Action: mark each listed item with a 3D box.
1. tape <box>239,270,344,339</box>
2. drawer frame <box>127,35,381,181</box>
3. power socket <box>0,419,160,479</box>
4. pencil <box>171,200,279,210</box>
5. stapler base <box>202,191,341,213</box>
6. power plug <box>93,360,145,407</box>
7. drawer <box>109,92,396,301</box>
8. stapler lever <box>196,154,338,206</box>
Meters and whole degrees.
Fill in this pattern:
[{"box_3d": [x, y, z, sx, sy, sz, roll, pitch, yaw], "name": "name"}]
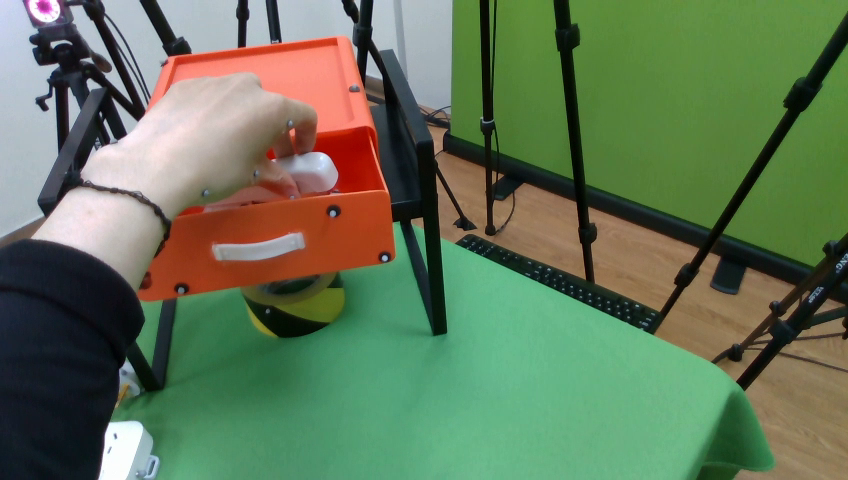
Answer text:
[{"box_3d": [-0.149, 0.052, 0.692, 0.117, 0.053, 0.115, -2, 40, 2], "name": "tape"}, {"box_3d": [-0.155, -0.113, 0.586, 0.202, 0.083, 0.211, -10, 39, -7], "name": "drawer frame"}, {"box_3d": [-0.355, 0.204, 0.540, 0.227, 0.033, 0.071, -4, 38, 0], "name": "power socket"}, {"box_3d": [-0.147, -0.030, 0.518, 0.193, 0.012, 0.012, 1, 38, 23], "name": "pencil"}, {"box_3d": [-0.125, -0.031, 0.507, 0.130, 0.025, 0.041, 0, 45, 6], "name": "stapler base"}, {"box_3d": [-0.314, 0.152, 0.615, 0.072, 0.035, 0.052, -32, 26, 25], "name": "power plug"}, {"box_3d": [-0.136, -0.055, 0.517, 0.195, 0.074, 0.209, -10, 39, -6], "name": "drawer"}, {"box_3d": [-0.128, -0.048, 0.489, 0.118, 0.040, 0.026, 0, 45, 6], "name": "stapler lever"}]
